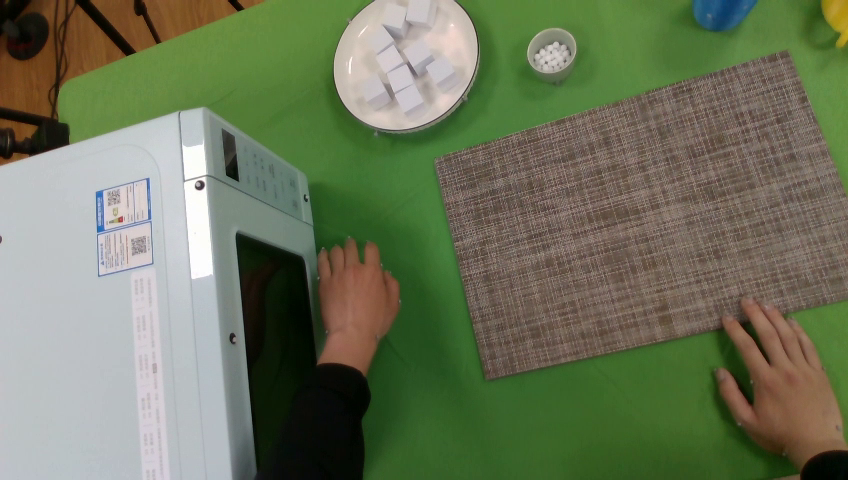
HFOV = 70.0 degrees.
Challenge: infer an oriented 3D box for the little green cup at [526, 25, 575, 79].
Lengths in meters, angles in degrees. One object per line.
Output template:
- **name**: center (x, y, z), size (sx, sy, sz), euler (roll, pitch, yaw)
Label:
- **little green cup**: center (0.165, -0.240, 0.782), size (0.061, 0.039, 0.061), euler (-3, 79, 15)

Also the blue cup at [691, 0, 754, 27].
- **blue cup**: center (0.354, -0.301, 0.708), size (0.092, 0.101, 0.092), euler (-2, 80, 14)

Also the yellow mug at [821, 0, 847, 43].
- **yellow mug**: center (0.506, -0.281, 0.681), size (0.099, 0.064, 0.131), euler (34, 91, 19)

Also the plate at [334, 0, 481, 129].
- **plate**: center (-0.022, -0.248, 0.834), size (0.207, 0.039, 0.206), euler (-3, 79, 15)

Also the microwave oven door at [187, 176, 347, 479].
- **microwave oven door**: center (-0.169, 0.128, 0.680), size (0.039, 0.245, 0.354), euler (-13, 77, 13)

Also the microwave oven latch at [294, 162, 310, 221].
- **microwave oven latch**: center (-0.176, -0.064, 0.823), size (0.030, 0.030, 0.079), euler (-10, 78, 13)

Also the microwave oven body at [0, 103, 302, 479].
- **microwave oven body**: center (-0.313, 0.119, 0.726), size (0.325, 0.262, 0.439), euler (-12, 77, 12)

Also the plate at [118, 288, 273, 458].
- **plate**: center (-0.283, 0.165, 0.763), size (0.208, 0.038, 0.208), euler (-2, 80, 14)
